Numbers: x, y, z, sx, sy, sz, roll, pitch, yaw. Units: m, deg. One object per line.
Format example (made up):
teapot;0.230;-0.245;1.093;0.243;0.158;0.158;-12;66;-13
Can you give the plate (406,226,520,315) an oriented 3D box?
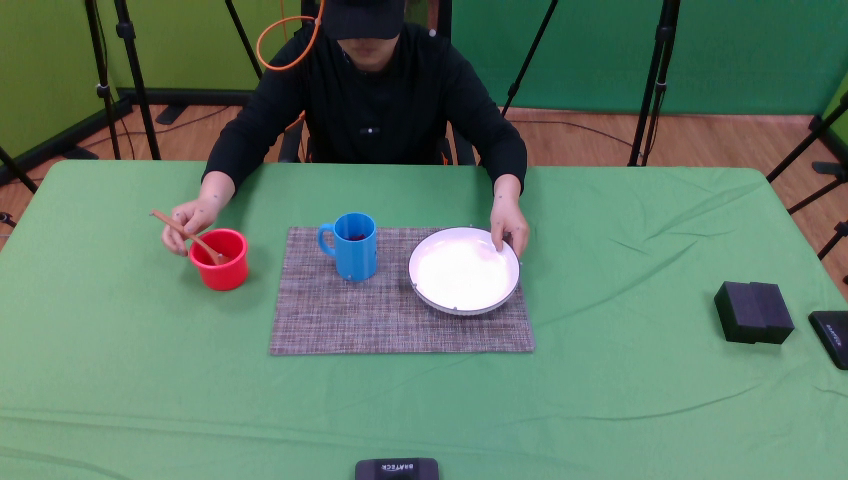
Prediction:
plate;0.072;0.059;1.124;0.208;0.039;0.206;-1;47;1

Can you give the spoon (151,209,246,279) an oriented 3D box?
spoon;-0.398;0.006;1.076;0.021;0.194;0.041;-29;30;31

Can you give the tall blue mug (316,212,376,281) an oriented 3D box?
tall blue mug;-0.142;0.014;1.109;0.107;0.108;0.077;-5;47;-8
